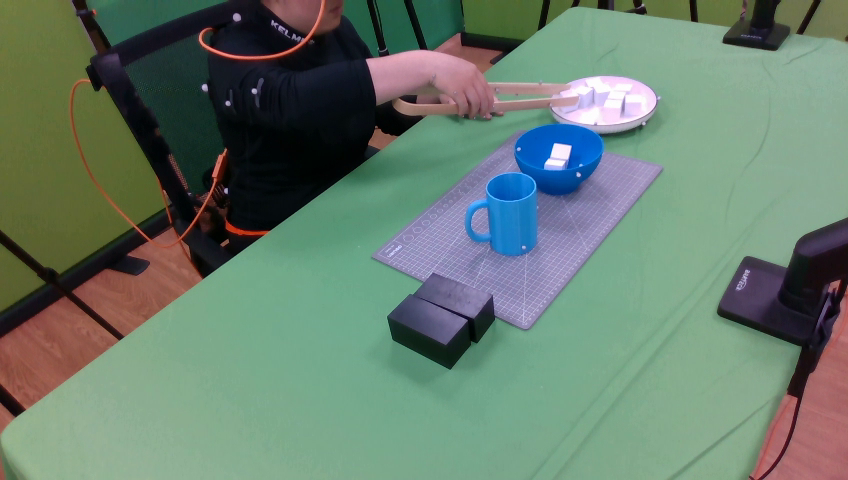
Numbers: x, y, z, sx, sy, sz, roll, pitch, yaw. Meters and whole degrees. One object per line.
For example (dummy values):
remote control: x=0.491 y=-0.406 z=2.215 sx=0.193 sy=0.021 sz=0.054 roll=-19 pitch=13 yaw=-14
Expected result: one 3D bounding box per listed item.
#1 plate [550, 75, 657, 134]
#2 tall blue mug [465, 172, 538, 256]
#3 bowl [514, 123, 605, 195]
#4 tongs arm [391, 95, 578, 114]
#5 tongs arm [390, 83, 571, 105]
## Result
plate: x=0.357 y=-0.269 z=1.220 sx=0.209 sy=0.038 sz=0.208 roll=-5 pitch=41 yaw=5
tall blue mug: x=0.125 y=-0.033 z=0.925 sx=0.107 sy=0.108 sz=0.077 roll=-32 pitch=46 yaw=-25
bowl: x=0.232 y=-0.131 z=1.046 sx=0.151 sy=0.077 sz=0.150 roll=-5 pitch=40 yaw=5
tongs arm: x=0.126 y=-0.260 z=1.147 sx=0.390 sy=0.028 sz=0.028 roll=-6 pitch=59 yaw=-21
tongs arm: x=0.119 y=-0.278 z=1.159 sx=0.387 sy=0.026 sz=0.050 roll=-3 pitch=54 yaw=-19
